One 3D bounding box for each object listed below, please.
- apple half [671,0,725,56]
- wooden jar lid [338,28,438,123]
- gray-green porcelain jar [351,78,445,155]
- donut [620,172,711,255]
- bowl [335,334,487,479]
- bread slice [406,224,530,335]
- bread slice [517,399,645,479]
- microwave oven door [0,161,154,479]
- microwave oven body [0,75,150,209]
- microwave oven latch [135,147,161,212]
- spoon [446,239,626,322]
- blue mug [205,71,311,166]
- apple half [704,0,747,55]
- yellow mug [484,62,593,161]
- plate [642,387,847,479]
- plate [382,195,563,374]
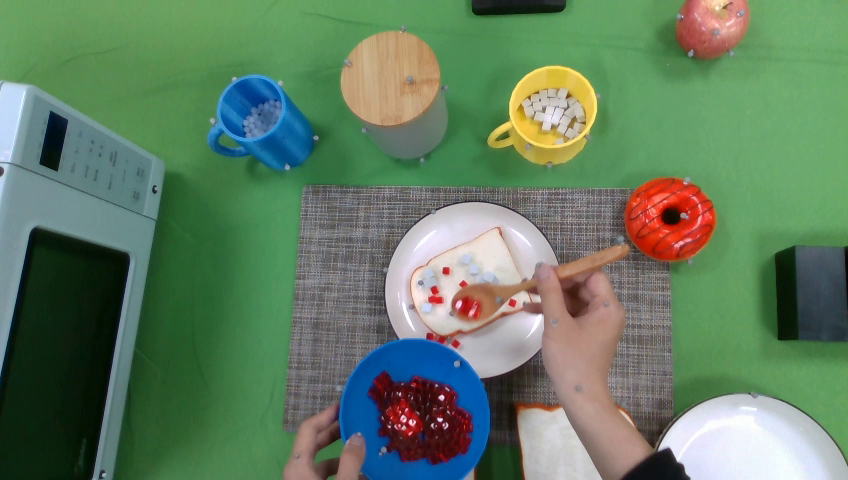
[{"bbox_3d":[0.312,-0.244,0.712,0.033,0.081,0.081,-31,78,-4],"label":"apple half"},{"bbox_3d":[-0.038,-0.175,0.653,0.108,0.021,0.108,-1,78,7],"label":"wooden jar lid"},{"bbox_3d":[-0.030,-0.163,0.714,0.106,0.127,0.105,-1,80,7],"label":"gray-green porcelain jar"},{"bbox_3d":[0.275,-0.030,0.693,0.099,0.048,0.098,-1,81,7],"label":"donut"},{"bbox_3d":[-0.018,0.179,0.621,0.152,0.077,0.150,5,66,-11],"label":"bowl"},{"bbox_3d":[0.046,0.053,0.712,0.131,0.019,0.104,-24,78,0],"label":"bread slice"},{"bbox_3d":[0.170,0.226,0.643,0.135,0.018,0.106,-3,76,-14],"label":"bread slice"},{"bbox_3d":[-0.391,0.121,0.632,0.039,0.245,0.354,4,81,8],"label":"microwave oven door"},{"bbox_3d":[-0.531,0.068,0.663,0.325,0.261,0.440,5,82,7],"label":"microwave oven body"},{"bbox_3d":[-0.355,-0.077,0.765,0.030,0.029,0.079,7,82,8],"label":"microwave oven latch"},{"bbox_3d":[0.101,0.039,0.577,0.193,0.022,0.041,-24,82,36],"label":"spoon"},{"bbox_3d":[-0.208,-0.139,0.742,0.116,0.106,0.082,-24,78,3],"label":"blue mug"},{"bbox_3d":[0.345,-0.265,0.713,0.053,0.075,0.080,-30,74,-4],"label":"apple half"},{"bbox_3d":[0.133,-0.145,0.723,0.131,0.064,0.099,-22,79,3],"label":"yellow mug"},{"bbox_3d":[0.337,0.261,0.643,0.209,0.038,0.208,-1,80,7],"label":"plate"},{"bbox_3d":[0.056,0.052,0.709,0.207,0.039,0.207,-1,80,7],"label":"plate"}]
